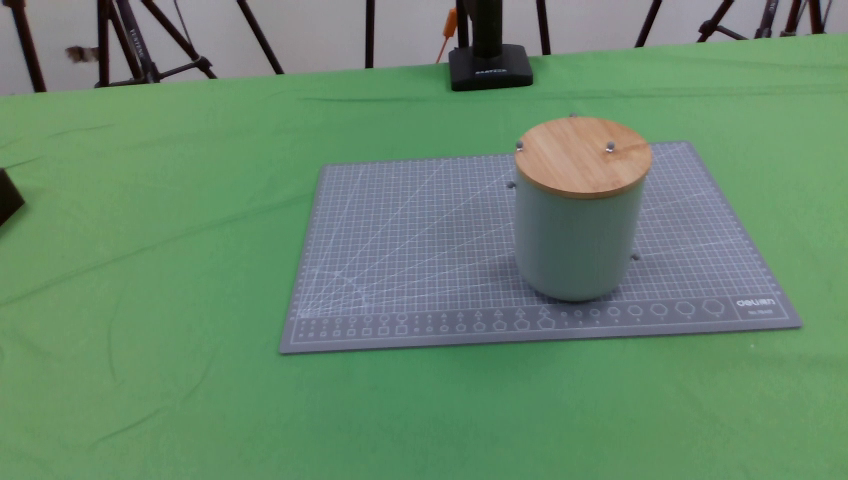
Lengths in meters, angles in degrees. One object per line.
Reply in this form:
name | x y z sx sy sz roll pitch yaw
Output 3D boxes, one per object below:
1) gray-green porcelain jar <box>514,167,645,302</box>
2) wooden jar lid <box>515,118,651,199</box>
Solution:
gray-green porcelain jar | 0.133 -0.016 0.538 0.106 0.128 0.105 -3 41 3
wooden jar lid | 0.129 -0.064 0.498 0.108 0.021 0.107 -4 41 4
